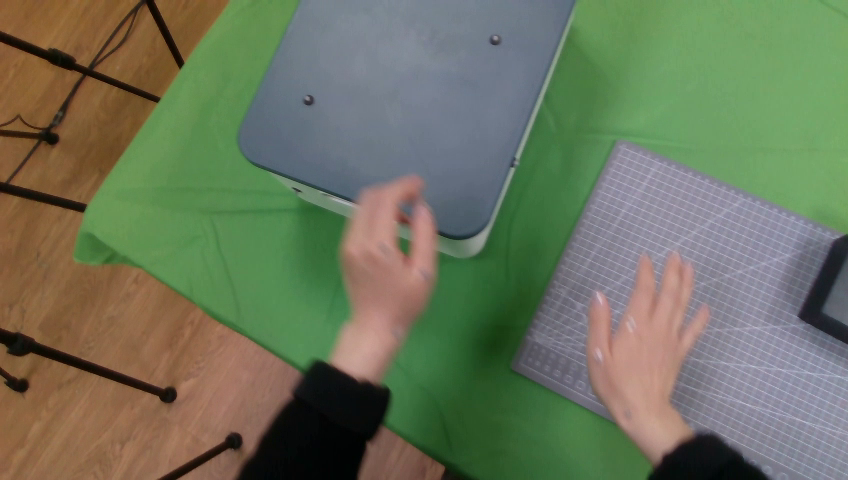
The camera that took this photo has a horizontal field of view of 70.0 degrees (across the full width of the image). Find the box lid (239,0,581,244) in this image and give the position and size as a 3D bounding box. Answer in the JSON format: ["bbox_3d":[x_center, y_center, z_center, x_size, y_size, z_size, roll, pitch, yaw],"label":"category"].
[{"bbox_3d":[-0.002,-0.198,0.600,0.262,0.015,0.370,21,80,9],"label":"box lid"}]

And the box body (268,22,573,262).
[{"bbox_3d":[0.006,-0.182,0.671,0.253,0.161,0.363,21,80,9],"label":"box body"}]

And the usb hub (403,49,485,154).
[{"bbox_3d":[0.025,-0.167,0.728,0.049,0.025,0.125,25,78,12],"label":"usb hub"}]
